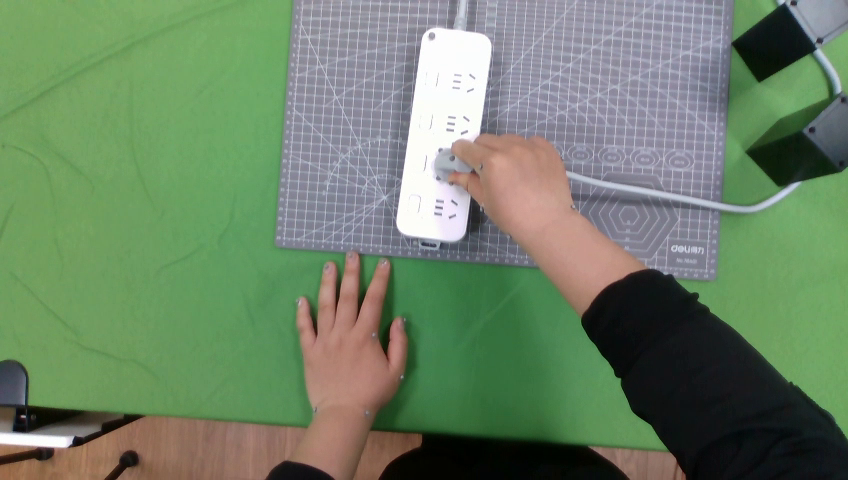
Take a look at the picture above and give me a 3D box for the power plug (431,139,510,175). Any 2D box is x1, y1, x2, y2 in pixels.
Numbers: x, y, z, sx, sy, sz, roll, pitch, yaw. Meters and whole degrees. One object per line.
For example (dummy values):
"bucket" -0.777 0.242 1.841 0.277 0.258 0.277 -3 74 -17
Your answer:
"power plug" 0.042 -0.073 0.584 0.072 0.053 0.035 23 88 3

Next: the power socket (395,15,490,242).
"power socket" 0.018 -0.111 0.604 0.072 0.032 0.226 8 90 1
